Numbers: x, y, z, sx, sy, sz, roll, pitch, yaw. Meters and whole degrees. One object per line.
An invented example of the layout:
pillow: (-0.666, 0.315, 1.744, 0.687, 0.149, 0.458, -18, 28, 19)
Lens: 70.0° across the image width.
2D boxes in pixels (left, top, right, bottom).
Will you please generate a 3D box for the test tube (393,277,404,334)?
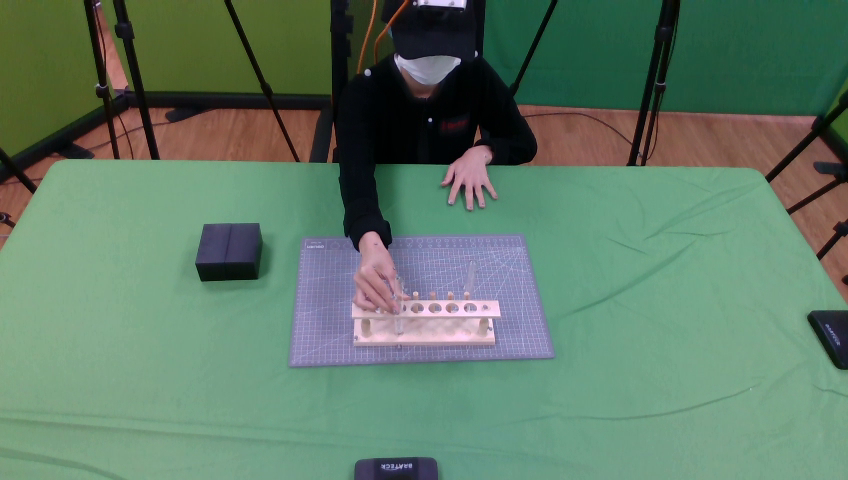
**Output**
test tube: (-0.042, 0.108, 0.972, 0.017, 0.151, 0.017, 1, 50, -1)

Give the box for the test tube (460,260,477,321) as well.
test tube: (0.073, 0.086, 1.011, 0.017, 0.151, 0.017, 2, 46, -2)

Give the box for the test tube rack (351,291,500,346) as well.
test tube rack: (0.001, 0.129, 1.026, 0.242, 0.085, 0.066, 0, 46, -4)
